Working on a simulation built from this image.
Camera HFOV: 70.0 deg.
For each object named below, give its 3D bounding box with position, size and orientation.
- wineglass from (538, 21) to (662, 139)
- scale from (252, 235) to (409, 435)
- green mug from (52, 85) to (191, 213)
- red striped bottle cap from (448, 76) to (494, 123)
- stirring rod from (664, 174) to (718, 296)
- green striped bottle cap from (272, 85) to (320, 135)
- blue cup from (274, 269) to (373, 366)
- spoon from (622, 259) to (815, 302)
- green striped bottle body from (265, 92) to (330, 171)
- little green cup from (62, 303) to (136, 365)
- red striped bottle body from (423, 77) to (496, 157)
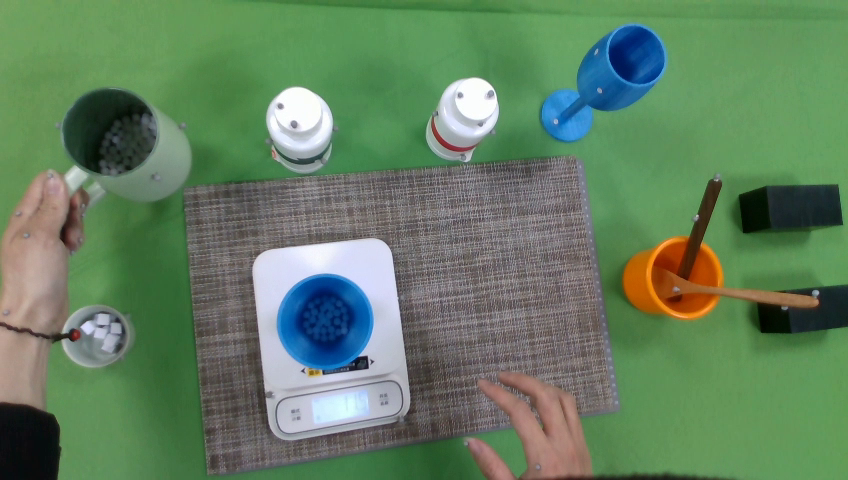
[{"bbox_3d":[0.183,-0.166,0.656,0.074,0.172,0.073,1,83,-9],"label":"wineglass"},{"bbox_3d":[-0.098,0.099,0.645,0.149,0.031,0.200,-7,85,-10],"label":"scale"},{"bbox_3d":[-0.280,-0.074,0.551,0.092,0.105,0.125,42,81,-4],"label":"green mug"},{"bbox_3d":[0.047,-0.140,0.602,0.044,0.018,0.044,2,80,-9],"label":"red striped bottle cap"},{"bbox_3d":[0.292,0.001,0.669,0.014,0.178,0.005,1,42,3],"label":"stirring rod"},{"bbox_3d":[-0.120,-0.122,0.568,0.044,0.020,0.044,1,82,-10],"label":"green striped bottle cap"},{"bbox_3d":[-0.095,0.073,0.582,0.093,0.100,0.092,1,85,-10],"label":"blue cup"},{"bbox_3d":[0.317,0.051,0.667,0.022,0.192,0.041,9,88,-52],"label":"spoon"},{"bbox_3d":[-0.128,-0.114,0.623,0.063,0.119,0.063,1,83,-9],"label":"green striped bottle body"},{"bbox_3d":[-0.321,0.093,0.606,0.062,0.038,0.061,1,84,-11],"label":"little green cup"},{"bbox_3d":[0.038,-0.134,0.654,0.063,0.119,0.063,1,83,-10],"label":"red striped bottle body"}]
